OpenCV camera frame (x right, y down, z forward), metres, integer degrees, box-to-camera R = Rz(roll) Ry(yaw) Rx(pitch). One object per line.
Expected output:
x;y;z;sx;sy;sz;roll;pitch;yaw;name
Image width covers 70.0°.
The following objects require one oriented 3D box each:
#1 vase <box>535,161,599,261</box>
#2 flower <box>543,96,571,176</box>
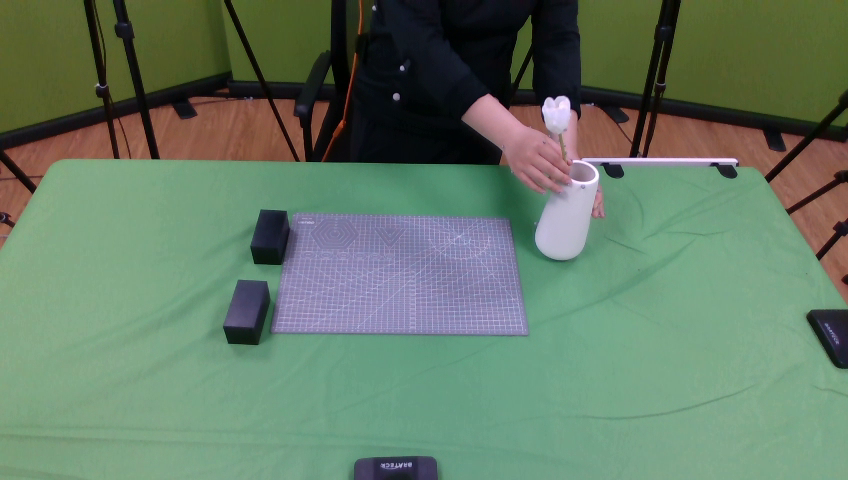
0.270;-0.052;1.145;0.098;0.201;0.097;1;46;-1;vase
0.258;-0.111;1.078;0.044;0.364;0.038;-33;49;-5;flower
